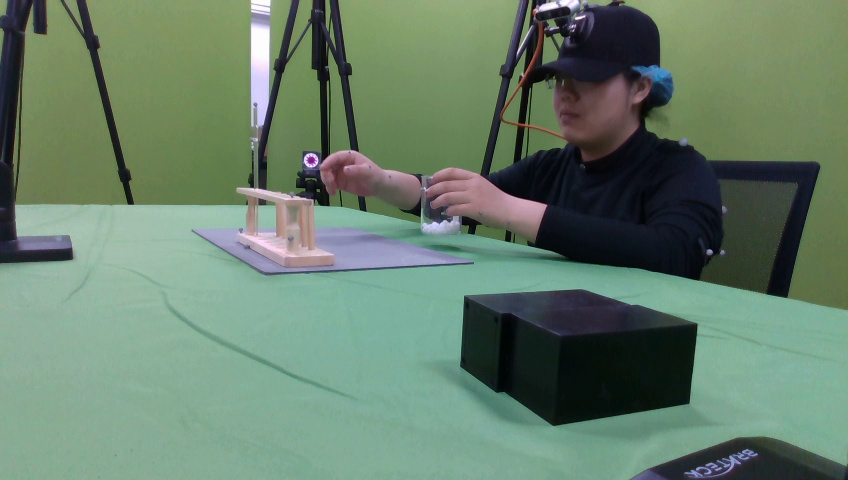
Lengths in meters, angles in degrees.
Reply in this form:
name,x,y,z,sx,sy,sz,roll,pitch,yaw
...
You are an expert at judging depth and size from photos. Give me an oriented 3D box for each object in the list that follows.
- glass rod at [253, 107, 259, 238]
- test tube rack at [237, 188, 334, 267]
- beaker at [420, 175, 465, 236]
name,x,y,z,sx,sy,sz,roll,pitch,yaw
glass rod,-0.253,-0.100,0.912,0.008,0.199,0.008,1,3,0
test tube rack,-0.202,-0.024,0.855,0.067,0.085,0.241,-2,8,-30
beaker,0.033,-0.059,1.017,0.083,0.100,0.074,7,8,41
